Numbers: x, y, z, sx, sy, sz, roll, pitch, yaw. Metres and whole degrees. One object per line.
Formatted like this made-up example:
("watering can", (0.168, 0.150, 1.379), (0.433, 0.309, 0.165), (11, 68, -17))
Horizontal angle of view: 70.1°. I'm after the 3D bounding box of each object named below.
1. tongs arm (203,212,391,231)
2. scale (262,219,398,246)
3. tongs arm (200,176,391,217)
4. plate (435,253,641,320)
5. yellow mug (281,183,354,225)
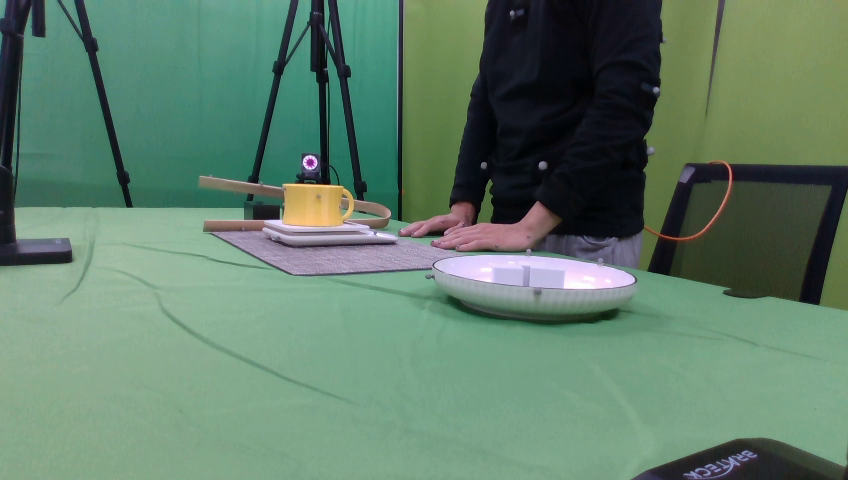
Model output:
("tongs arm", (-0.231, -0.035, 1.185), (0.390, 0.028, 0.028), (-3, 33, -33))
("scale", (-0.160, -0.016, 1.028), (0.202, 0.031, 0.148), (-1, 9, -32))
("tongs arm", (-0.258, -0.084, 1.245), (0.387, 0.026, 0.050), (6, 32, -22))
("plate", (0.114, 0.047, 0.626), (0.208, 0.039, 0.207), (2, 7, 0))
("yellow mug", (-0.172, -0.061, 1.009), (0.131, 0.064, 0.099), (-2, 8, -42))
